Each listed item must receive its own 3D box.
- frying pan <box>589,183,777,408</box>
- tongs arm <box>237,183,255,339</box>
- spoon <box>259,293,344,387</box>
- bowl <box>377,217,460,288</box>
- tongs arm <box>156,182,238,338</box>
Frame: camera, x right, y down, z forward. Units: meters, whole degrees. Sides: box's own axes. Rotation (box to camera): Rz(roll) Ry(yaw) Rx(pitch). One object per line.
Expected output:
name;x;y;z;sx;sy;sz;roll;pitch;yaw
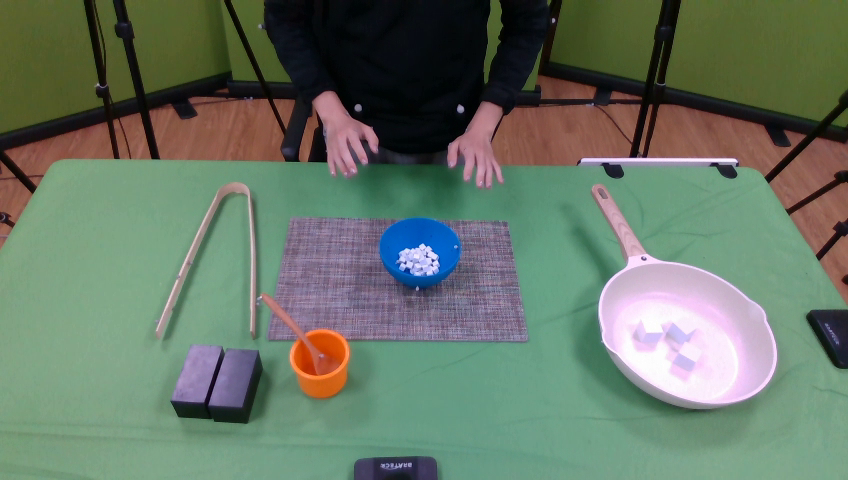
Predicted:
frying pan;0.412;0.079;1.096;0.307;0.103;0.484;-8;56;-13
tongs arm;-0.334;0.024;1.145;0.028;0.028;0.385;-9;47;-10
spoon;-0.191;0.155;0.947;0.021;0.194;0.041;-12;28;51
bowl;-0.011;0.036;1.118;0.151;0.077;0.150;2;46;-2
tongs arm;-0.415;0.023;1.134;0.051;0.026;0.382;3;45;-3
